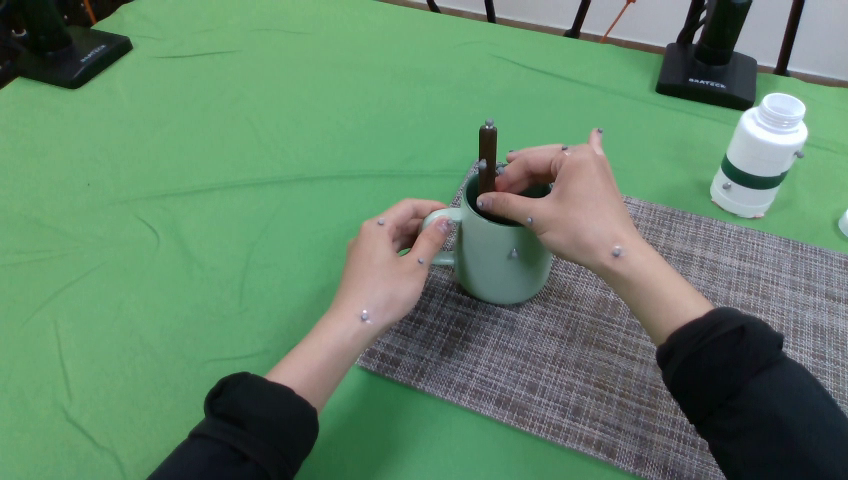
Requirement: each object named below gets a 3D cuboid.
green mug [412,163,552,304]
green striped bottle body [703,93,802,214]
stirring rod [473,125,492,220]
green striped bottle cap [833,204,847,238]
[{"bbox_3d":[0.052,-0.002,0.543,0.125,0.106,0.091,-6,48,-5],"label":"green mug"},{"bbox_3d":[0.335,-0.089,0.615,0.063,0.120,0.062,0,47,0],"label":"green striped bottle body"},{"bbox_3d":[0.048,-0.026,0.505,0.014,0.178,0.005,5,51,8],"label":"stirring rod"},{"bbox_3d":[0.446,-0.017,0.619,0.044,0.020,0.044,1,44,0],"label":"green striped bottle cap"}]
